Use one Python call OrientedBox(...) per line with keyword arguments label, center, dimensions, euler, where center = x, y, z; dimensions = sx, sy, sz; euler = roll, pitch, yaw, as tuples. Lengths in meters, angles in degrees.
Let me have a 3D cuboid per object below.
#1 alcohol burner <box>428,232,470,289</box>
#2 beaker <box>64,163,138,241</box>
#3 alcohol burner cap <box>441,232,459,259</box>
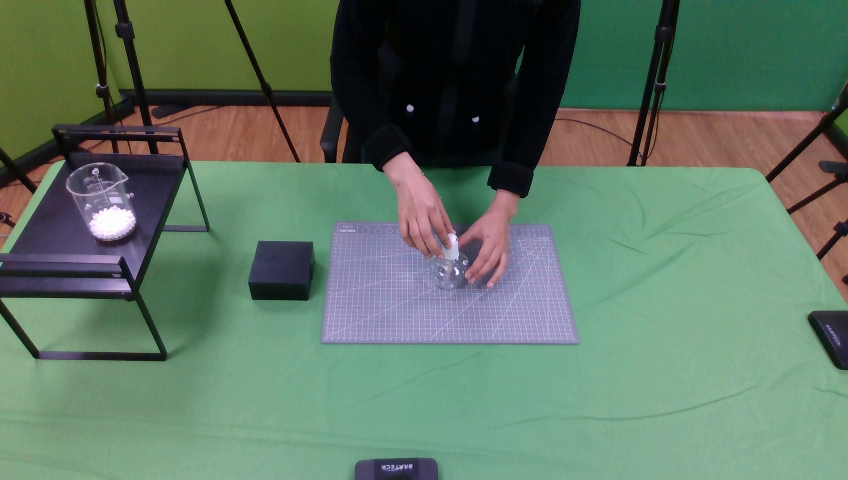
OrientedBox(label="alcohol burner", center=(0.045, 0.032, 1.099), dimensions=(0.078, 0.120, 0.077), euler=(0, 45, 0))
OrientedBox(label="beaker", center=(-0.477, -0.055, 0.910), dimensions=(0.084, 0.101, 0.073), euler=(-9, 48, -13))
OrientedBox(label="alcohol burner cap", center=(0.047, 0.007, 1.076), dimensions=(0.034, 0.048, 0.033), euler=(0, 41, 0))
